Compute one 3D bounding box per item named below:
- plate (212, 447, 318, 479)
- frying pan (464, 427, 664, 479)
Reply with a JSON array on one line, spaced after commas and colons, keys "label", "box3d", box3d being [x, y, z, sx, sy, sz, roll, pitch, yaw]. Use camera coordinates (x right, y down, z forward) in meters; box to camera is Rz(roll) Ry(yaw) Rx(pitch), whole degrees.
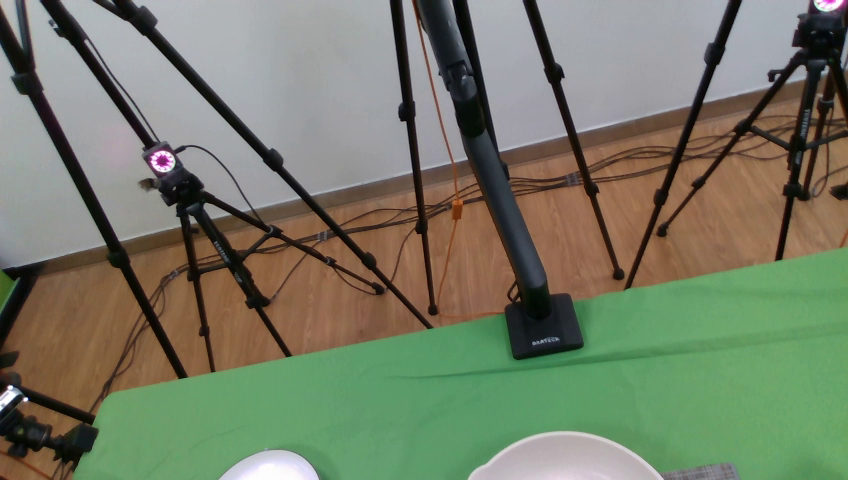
[{"label": "plate", "box3d": [-0.250, 0.421, 0.923, 0.207, 0.039, 0.205, -9, 45, 10]}, {"label": "frying pan", "box3d": [0.114, 0.445, 0.718, 0.304, 0.104, 0.487, 23, 50, 37]}]
